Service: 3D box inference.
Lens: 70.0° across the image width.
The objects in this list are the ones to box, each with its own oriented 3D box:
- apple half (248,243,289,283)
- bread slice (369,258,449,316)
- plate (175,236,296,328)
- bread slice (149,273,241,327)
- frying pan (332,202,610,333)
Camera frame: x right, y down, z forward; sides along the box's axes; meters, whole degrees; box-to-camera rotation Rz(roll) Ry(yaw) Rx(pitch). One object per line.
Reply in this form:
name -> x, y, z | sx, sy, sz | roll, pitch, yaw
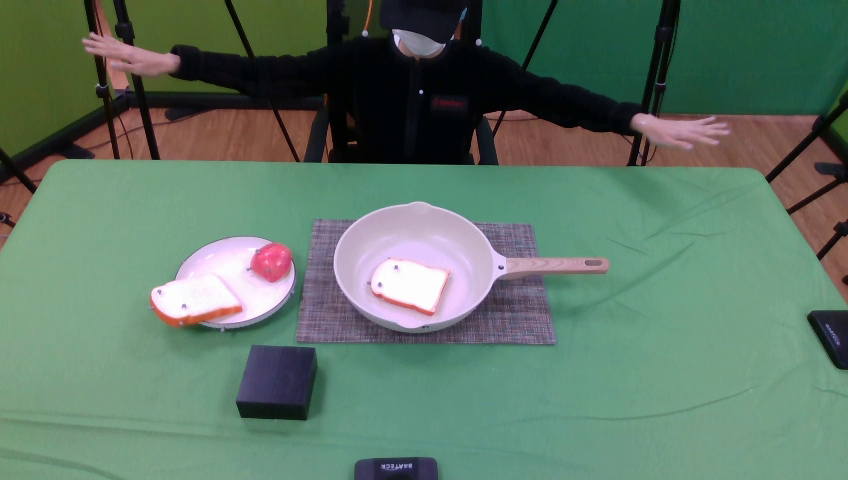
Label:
apple half -> -0.287, 0.035, 1.107 | 0.081, 0.033, 0.081 | -5, 65, 12
bread slice -> -0.032, 0.083, 1.107 | 0.134, 0.018, 0.106 | 13, 45, 8
plate -> -0.335, 0.077, 1.087 | 0.208, 0.039, 0.206 | 2, 46, -2
bread slice -> -0.392, 0.102, 1.029 | 0.132, 0.019, 0.104 | -14, 43, -45
frying pan -> 0.085, 0.052, 1.093 | 0.488, 0.103, 0.305 | -1, 46, 6
